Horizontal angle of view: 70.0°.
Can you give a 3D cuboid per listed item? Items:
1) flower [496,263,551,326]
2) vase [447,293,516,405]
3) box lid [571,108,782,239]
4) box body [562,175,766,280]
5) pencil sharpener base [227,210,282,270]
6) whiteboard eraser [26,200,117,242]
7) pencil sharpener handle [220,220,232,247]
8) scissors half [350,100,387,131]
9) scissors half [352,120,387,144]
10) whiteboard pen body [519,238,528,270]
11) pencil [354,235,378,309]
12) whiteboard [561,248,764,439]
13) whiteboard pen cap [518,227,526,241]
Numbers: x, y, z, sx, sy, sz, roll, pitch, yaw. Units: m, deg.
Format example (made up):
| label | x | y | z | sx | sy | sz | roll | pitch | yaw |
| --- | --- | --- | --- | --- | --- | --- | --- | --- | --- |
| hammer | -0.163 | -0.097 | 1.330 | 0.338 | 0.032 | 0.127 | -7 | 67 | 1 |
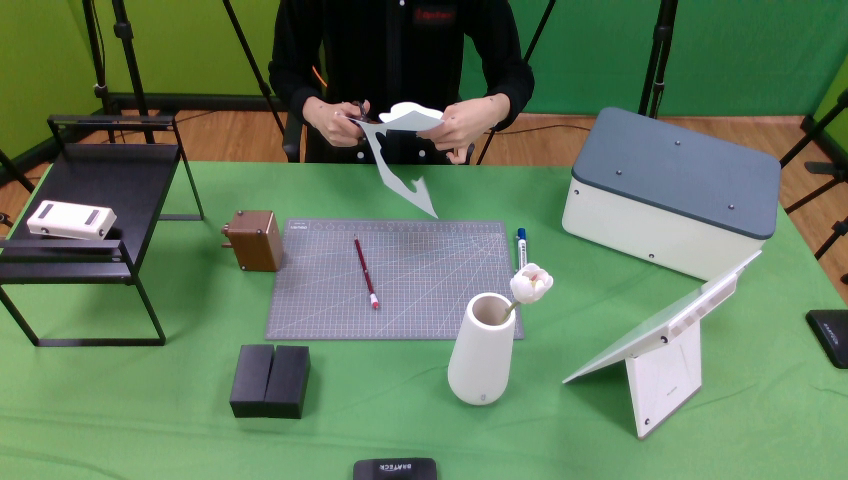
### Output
| label | x | y | z | sx | sy | sz | roll | pitch | yaw |
| --- | --- | --- | --- | --- | --- | --- | --- | --- | --- |
| flower | 0.102 | 0.121 | 0.853 | 0.044 | 0.363 | 0.038 | -2 | 64 | -10 |
| vase | 0.091 | 0.169 | 0.921 | 0.098 | 0.201 | 0.097 | 3 | 47 | -3 |
| box lid | 0.491 | -0.139 | 1.168 | 0.370 | 0.015 | 0.262 | 21 | 49 | 15 |
| box body | 0.486 | -0.088 | 1.222 | 0.363 | 0.161 | 0.253 | 20 | 48 | 15 |
| pencil sharpener base | -0.311 | 0.001 | 1.112 | 0.077 | 0.107 | 0.061 | 1 | 47 | 1 |
| whiteboard eraser | -0.532 | -0.026 | 0.919 | 0.113 | 0.042 | 0.055 | 7 | 45 | 3 |
| pencil sharpener handle | -0.362 | -0.009 | 1.105 | 0.030 | 0.068 | 0.036 | 1 | 53 | 1 |
| scissors half | -0.098 | -0.214 | 1.060 | 0.013 | 0.040 | 0.174 | -13 | 29 | -22 |
| scissors half | -0.097 | -0.193 | 1.065 | 0.013 | 0.040 | 0.174 | -8 | 7 | -23 |
| whiteboard pen body | 0.193 | 0.035 | 1.181 | 0.017 | 0.017 | 0.140 | 6 | 48 | 1 |
| pencil | -0.112 | 0.055 | 1.143 | 0.012 | 0.012 | 0.192 | -10 | 46 | -13 |
| whiteboard | 0.386 | 0.176 | 0.905 | 0.217 | 0.306 | 0.143 | -26 | 72 | -27 |
| whiteboard pen cap | 0.197 | -0.009 | 1.220 | 0.018 | 0.018 | 0.033 | 5 | 51 | 1 |
